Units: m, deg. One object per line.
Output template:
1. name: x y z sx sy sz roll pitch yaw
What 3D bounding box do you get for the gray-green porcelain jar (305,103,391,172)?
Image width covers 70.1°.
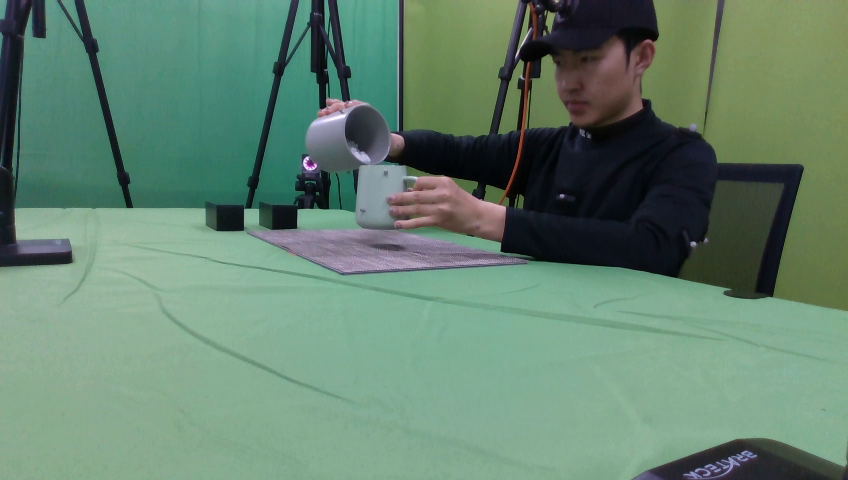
1. gray-green porcelain jar: -0.139 -0.177 1.065 0.106 0.105 0.126 -5 1 -45

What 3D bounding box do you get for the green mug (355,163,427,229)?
1. green mug: -0.053 -0.073 0.997 0.125 0.105 0.093 3 6 23
